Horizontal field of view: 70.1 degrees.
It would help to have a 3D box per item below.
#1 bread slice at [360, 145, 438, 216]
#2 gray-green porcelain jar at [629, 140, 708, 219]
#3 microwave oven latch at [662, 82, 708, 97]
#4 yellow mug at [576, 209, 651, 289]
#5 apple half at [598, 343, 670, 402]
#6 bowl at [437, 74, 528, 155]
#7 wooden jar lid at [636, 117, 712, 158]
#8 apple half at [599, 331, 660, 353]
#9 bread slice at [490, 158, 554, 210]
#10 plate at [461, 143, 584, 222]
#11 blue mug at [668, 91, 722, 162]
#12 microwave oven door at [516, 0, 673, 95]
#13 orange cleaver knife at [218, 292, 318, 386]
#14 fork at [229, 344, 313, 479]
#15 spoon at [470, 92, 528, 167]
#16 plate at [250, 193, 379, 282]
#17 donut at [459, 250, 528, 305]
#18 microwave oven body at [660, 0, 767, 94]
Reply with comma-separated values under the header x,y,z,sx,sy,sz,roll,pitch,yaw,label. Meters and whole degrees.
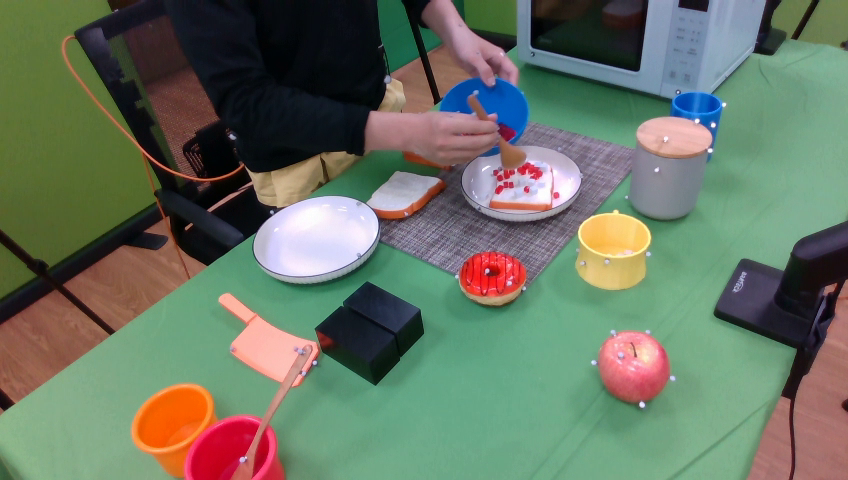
x,y,z,sx,sy,sz,roll,pitch,yaw,label
-0.053,-0.103,1.046,0.106,0.018,0.134,19,67,22,bread slice
0.383,-0.105,0.958,0.106,0.127,0.105,-4,41,4,gray-green porcelain jar
0.518,-0.298,1.203,0.078,0.029,0.030,28,53,35,microwave oven latch
0.279,0.004,0.893,0.099,0.064,0.130,5,42,14,yellow mug
0.247,0.161,0.710,0.081,0.075,0.053,2,47,5,apple half
0.099,-0.198,1.030,0.151,0.077,0.150,-2,64,4,bowl
0.377,-0.151,0.917,0.108,0.021,0.108,-2,42,2,wooden jar lid
0.249,0.134,0.738,0.081,0.081,0.032,-1,46,7,apple half
0.173,-0.100,1.047,0.104,0.019,0.131,4,44,12,bread slice
0.168,-0.095,1.040,0.207,0.039,0.206,-4,41,4,plate
0.474,-0.207,1.079,0.082,0.106,0.116,4,42,13,blue mug
0.344,-0.458,1.256,0.353,0.245,0.039,26,52,33,microwave oven door
-0.235,0.136,0.850,0.209,0.012,0.077,25,57,30,orange cleaver knife
-0.173,0.205,0.662,0.028,0.019,0.207,29,94,35,fork
0.107,-0.156,0.876,0.041,0.195,0.021,-32,53,15,spoon
-0.174,-0.001,0.984,0.209,0.038,0.208,-3,40,3,plate
0.100,0.053,0.872,0.099,0.048,0.098,-5,40,4,donut
0.473,-0.517,1.314,0.438,0.261,0.327,26,51,34,microwave oven body
